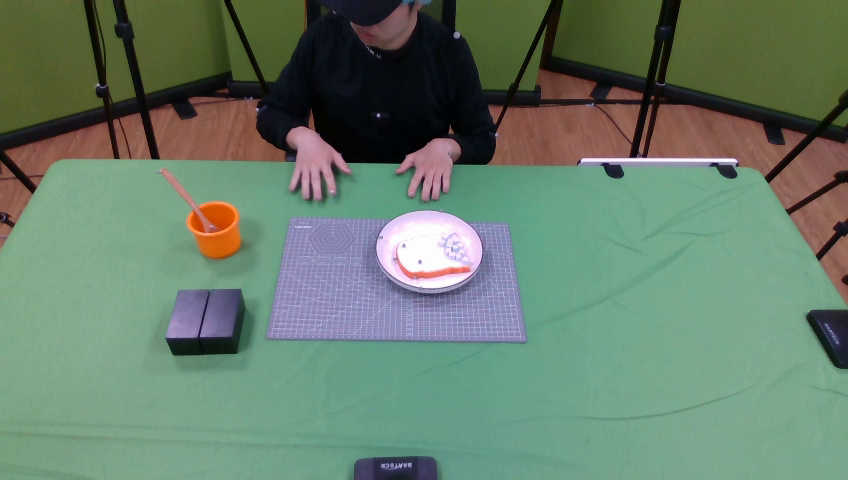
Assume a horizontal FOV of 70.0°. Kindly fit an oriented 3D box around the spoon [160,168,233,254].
[{"bbox_3d":[-0.424,-0.055,1.130,0.041,0.194,0.021,-42,18,-31],"label":"spoon"}]

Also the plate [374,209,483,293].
[{"bbox_3d":[0.009,0.024,1.160,0.209,0.038,0.208,2,46,-2],"label":"plate"}]

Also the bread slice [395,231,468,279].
[{"bbox_3d":[0.011,0.030,1.158,0.132,0.019,0.104,-8,47,-14],"label":"bread slice"}]
